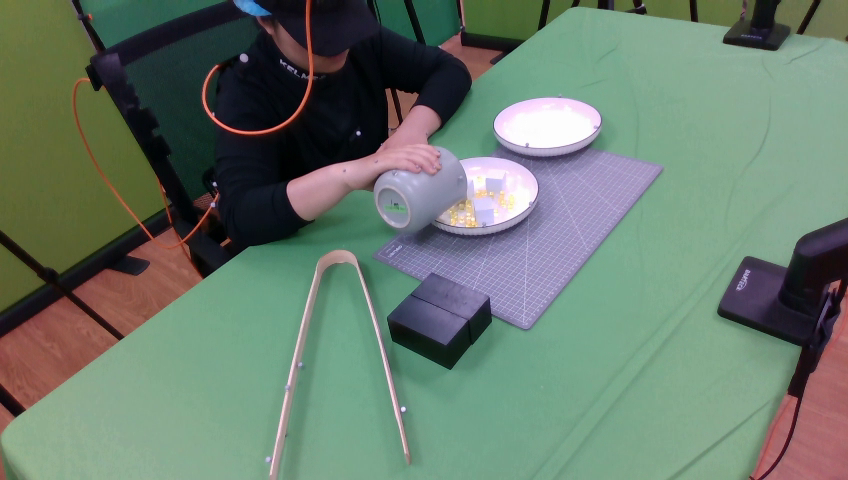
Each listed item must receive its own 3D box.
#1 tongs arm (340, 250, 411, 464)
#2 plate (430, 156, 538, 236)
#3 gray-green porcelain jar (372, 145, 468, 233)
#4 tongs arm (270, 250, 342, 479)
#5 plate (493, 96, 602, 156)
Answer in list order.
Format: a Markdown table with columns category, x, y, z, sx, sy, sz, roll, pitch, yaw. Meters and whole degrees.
| category | x | y | z | sx | sy | sz | roll | pitch | yaw |
| --- | --- | --- | --- | --- | --- | --- | --- | --- | --- |
| tongs arm | -0.070 | 0.136 | 0.830 | 0.028 | 0.028 | 0.384 | -18 | 40 | -6 |
| plate | 0.091 | -0.072 | 1.034 | 0.207 | 0.039 | 0.206 | -5 | 40 | 5 |
| gray-green porcelain jar | -0.009 | -0.077 | 0.948 | 0.105 | 0.106 | 0.127 | 22 | 41 | 32 |
| tongs arm | -0.152 | 0.148 | 0.826 | 0.051 | 0.026 | 0.382 | -6 | 39 | 3 |
| plate | 0.239 | -0.218 | 1.180 | 0.209 | 0.038 | 0.208 | -5 | 39 | 4 |
